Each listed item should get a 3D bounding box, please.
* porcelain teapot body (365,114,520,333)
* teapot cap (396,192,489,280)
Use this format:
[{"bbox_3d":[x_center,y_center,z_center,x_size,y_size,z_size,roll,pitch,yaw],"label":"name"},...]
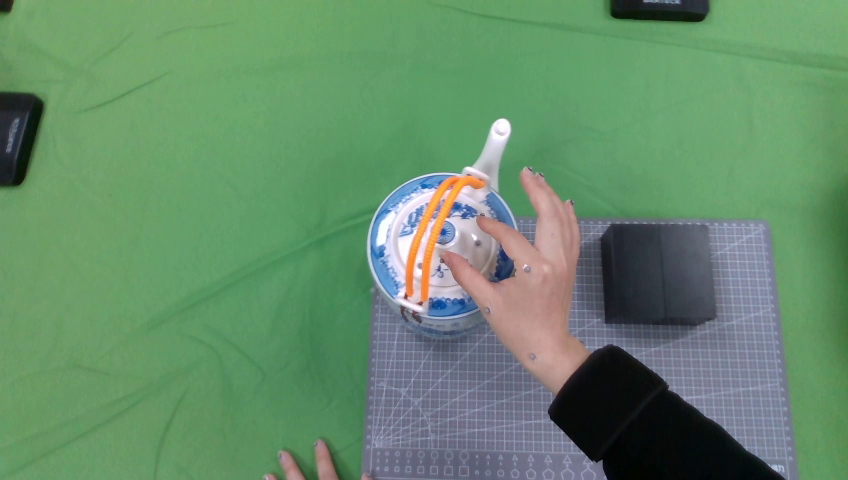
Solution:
[{"bbox_3d":[0.029,-0.020,0.588,0.145,0.226,0.205,23,76,8],"label":"porcelain teapot body"},{"bbox_3d":[0.016,-0.006,0.543,0.085,0.044,0.084,-1,71,4],"label":"teapot cap"}]
